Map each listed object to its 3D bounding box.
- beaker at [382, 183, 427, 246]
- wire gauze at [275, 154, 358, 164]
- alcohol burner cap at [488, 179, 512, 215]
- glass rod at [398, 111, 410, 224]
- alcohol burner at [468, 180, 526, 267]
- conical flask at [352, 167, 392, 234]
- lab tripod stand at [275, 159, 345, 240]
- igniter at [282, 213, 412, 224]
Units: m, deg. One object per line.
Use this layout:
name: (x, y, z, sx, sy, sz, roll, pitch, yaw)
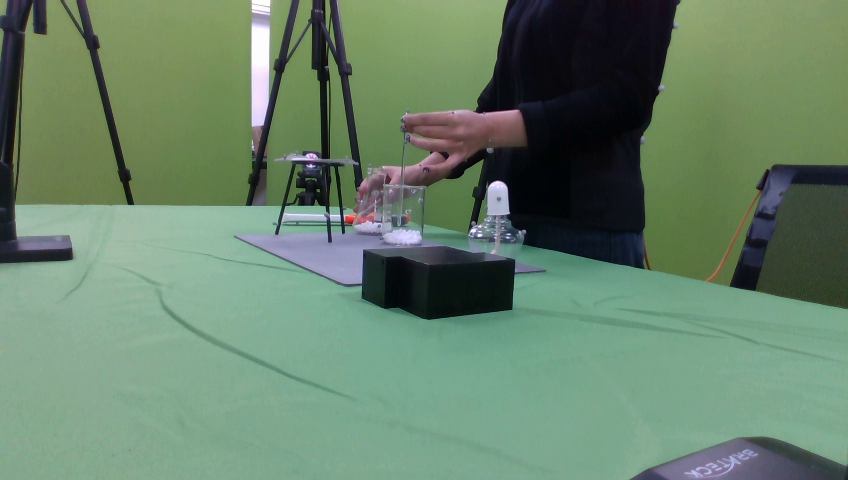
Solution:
beaker: (-0.032, -0.044, 1.008, 0.074, 0.100, 0.084, 6, 7, 22)
wire gauze: (-0.179, -0.137, 1.028, 0.121, 0.011, 0.125, 4, 8, 0)
alcohol burner cap: (0.101, -0.058, 0.816, 0.034, 0.048, 0.034, -5, 9, 1)
glass rod: (-0.032, -0.115, 0.991, 0.008, 0.199, 0.008, 4, 29, -2)
alcohol burner: (0.101, -0.022, 0.821, 0.078, 0.119, 0.078, 4, 8, 0)
conical flask: (-0.092, -0.075, 1.125, 0.075, 0.122, 0.075, 5, 9, 0)
lab tripod stand: (-0.181, -0.072, 1.039, 0.148, 0.131, 0.148, 4, 8, 0)
igniter: (-0.159, -0.046, 1.287, 0.278, 0.025, 0.057, -1, -3, -21)
